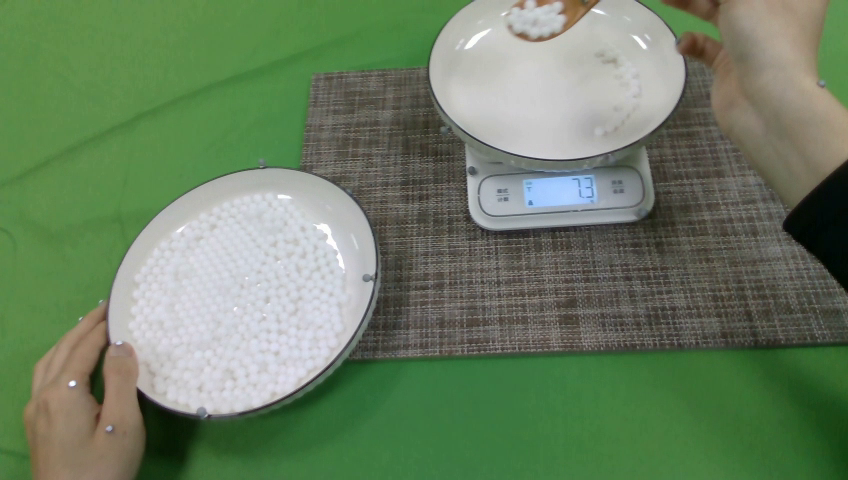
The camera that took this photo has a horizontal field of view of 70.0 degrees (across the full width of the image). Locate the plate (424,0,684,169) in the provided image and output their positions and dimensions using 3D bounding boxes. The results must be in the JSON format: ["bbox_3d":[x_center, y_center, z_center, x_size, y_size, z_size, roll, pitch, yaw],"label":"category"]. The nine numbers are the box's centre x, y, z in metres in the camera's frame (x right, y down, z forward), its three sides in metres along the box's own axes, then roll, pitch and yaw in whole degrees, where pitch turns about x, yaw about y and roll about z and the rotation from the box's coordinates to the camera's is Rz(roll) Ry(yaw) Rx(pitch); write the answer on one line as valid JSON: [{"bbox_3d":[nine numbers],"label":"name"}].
[{"bbox_3d":[0.105,-0.139,0.508,0.207,0.039,0.206,-2,60,4],"label":"plate"}]

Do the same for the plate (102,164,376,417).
[{"bbox_3d":[-0.137,0.035,0.466,0.209,0.038,0.207,-3,60,5],"label":"plate"}]

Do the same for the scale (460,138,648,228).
[{"bbox_3d":[0.105,-0.104,0.526,0.148,0.032,0.199,-3,60,4],"label":"scale"}]

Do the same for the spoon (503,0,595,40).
[{"bbox_3d":[0.148,-0.187,0.418,0.193,0.022,0.041,-19,66,21],"label":"spoon"}]
